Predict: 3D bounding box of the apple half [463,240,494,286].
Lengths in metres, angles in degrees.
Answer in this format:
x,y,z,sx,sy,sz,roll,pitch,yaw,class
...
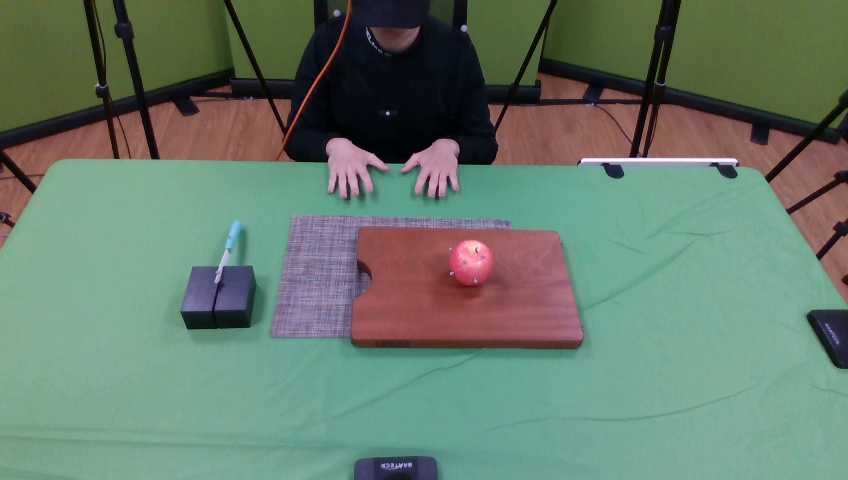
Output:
x,y,z,sx,sy,sz,roll,pitch,yaw,class
0.097,0.042,1.093,0.053,0.075,0.080,-3,42,-13,apple half

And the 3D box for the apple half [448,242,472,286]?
x,y,z,sx,sy,sz,roll,pitch,yaw,class
0.059,0.046,1.085,0.033,0.081,0.080,-4,46,-13,apple half

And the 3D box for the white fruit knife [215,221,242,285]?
x,y,z,sx,sy,sz,roll,pitch,yaw,class
-0.360,0.019,1.114,0.016,0.027,0.206,-1,32,-5,white fruit knife
